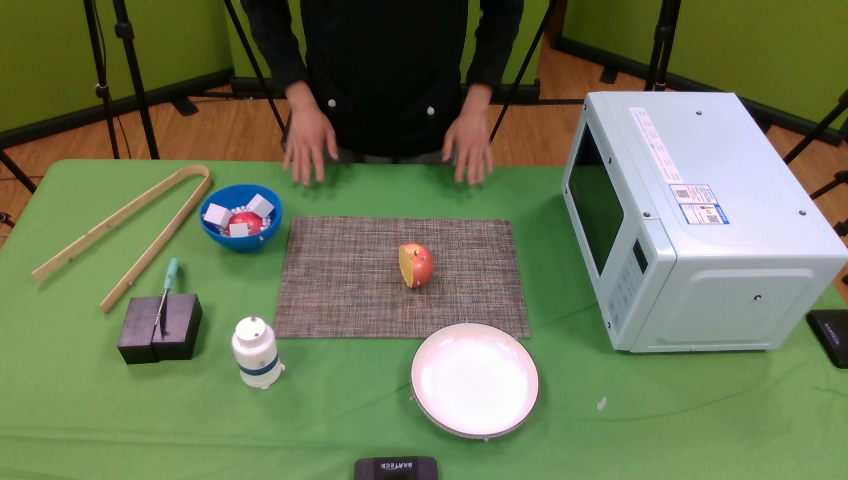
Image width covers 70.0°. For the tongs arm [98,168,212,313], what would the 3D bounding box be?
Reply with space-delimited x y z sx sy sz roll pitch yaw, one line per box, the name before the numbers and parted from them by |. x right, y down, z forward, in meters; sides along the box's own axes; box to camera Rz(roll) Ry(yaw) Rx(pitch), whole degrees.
tongs arm | -0.503 -0.012 1.167 0.028 0.028 0.385 11 46 11

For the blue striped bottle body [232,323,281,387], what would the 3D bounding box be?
blue striped bottle body | -0.262 0.172 0.944 0.063 0.121 0.062 2 46 -2

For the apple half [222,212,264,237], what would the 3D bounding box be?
apple half | -0.347 -0.033 1.161 0.081 0.033 0.081 3 47 -4

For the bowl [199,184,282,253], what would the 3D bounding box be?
bowl | -0.346 -0.030 1.164 0.151 0.077 0.150 3 45 -3

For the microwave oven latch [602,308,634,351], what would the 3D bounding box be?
microwave oven latch | 0.332 0.153 1.044 0.030 0.029 0.078 -1 45 -4

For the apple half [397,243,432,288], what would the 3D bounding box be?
apple half | -0.013 0.047 1.115 0.053 0.075 0.080 -10 43 -21

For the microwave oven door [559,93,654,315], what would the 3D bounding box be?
microwave oven door | 0.327 -0.074 1.123 0.039 0.245 0.353 -1 46 -5

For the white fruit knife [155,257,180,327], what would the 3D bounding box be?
white fruit knife | -0.440 0.085 1.037 0.016 0.027 0.206 10 26 -19

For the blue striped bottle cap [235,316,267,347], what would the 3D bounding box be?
blue striped bottle cap | -0.259 0.137 0.907 0.044 0.021 0.044 3 43 -2

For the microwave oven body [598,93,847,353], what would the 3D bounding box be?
microwave oven body | 0.475 -0.041 1.110 0.326 0.261 0.438 -1 45 -4

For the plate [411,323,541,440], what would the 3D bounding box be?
plate | 0.082 0.228 0.976 0.208 0.039 0.206 2 45 -2

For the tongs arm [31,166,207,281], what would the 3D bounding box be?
tongs arm | -0.578 -0.040 1.184 0.050 0.026 0.384 23 48 17
